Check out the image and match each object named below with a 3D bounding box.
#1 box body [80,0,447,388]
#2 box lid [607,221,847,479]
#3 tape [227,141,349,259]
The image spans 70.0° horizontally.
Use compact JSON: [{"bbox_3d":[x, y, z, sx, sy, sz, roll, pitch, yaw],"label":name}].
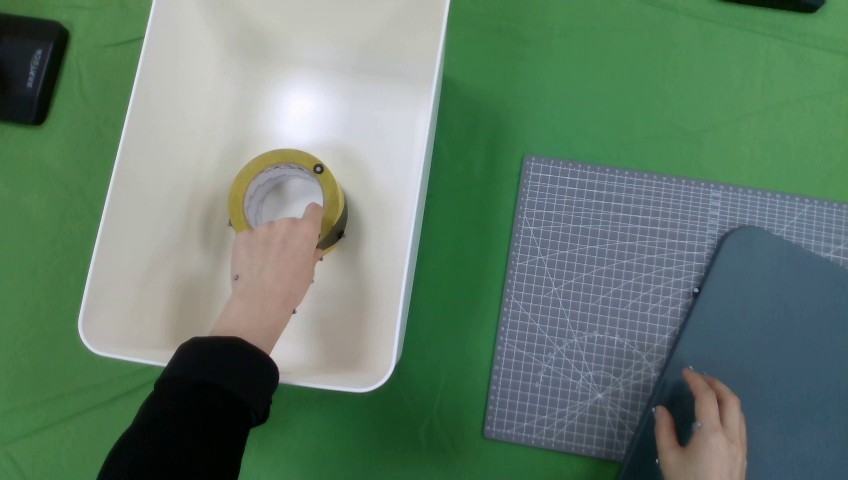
[{"bbox_3d":[-0.124,-0.063,0.575,0.254,0.161,0.363,8,81,2],"label":"box body"},{"bbox_3d":[0.354,0.186,0.600,0.263,0.015,0.370,26,83,5],"label":"box lid"},{"bbox_3d":[-0.137,-0.038,0.620,0.117,0.053,0.116,0,82,2],"label":"tape"}]
